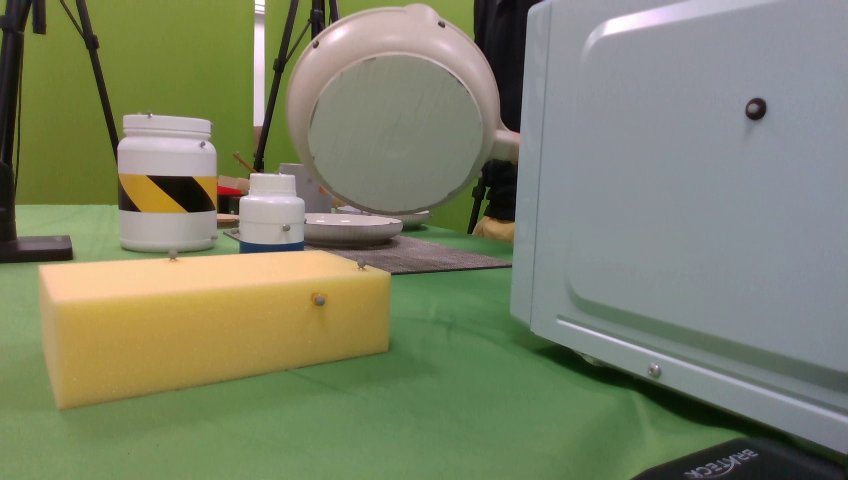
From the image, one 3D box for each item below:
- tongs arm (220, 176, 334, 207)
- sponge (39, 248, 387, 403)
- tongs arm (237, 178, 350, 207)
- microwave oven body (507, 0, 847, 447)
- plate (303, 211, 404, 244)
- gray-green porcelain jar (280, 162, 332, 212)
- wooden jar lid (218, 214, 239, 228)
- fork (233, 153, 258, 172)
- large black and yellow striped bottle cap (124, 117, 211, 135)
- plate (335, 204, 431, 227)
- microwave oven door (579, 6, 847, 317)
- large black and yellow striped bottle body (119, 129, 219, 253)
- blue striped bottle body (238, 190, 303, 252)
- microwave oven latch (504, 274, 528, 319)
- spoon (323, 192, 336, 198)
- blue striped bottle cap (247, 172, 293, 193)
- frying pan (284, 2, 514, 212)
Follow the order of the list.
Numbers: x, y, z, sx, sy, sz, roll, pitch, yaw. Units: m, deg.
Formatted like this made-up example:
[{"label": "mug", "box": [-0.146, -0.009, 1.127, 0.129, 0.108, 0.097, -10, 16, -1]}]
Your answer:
[{"label": "tongs arm", "box": [-0.285, -0.104, 1.445, 0.389, 0.027, 0.028, 9, -4, -23]}, {"label": "sponge", "box": [-0.142, 0.047, 0.420, 0.208, 0.061, 0.117, -3, 8, -36]}, {"label": "tongs arm", "box": [-0.241, -0.095, 1.374, 0.387, 0.026, 0.050, 9, 0, -37]}, {"label": "microwave oven body", "box": [0.331, -0.042, 0.425, 0.444, 0.260, 0.324, -2, 8, -31]}, {"label": "plate", "box": [-0.139, -0.022, 1.021, 0.209, 0.038, 0.209, 2, 8, 0]}, {"label": "gray-green porcelain jar", "box": [-0.238, -0.092, 1.221, 0.106, 0.126, 0.106, 2, 7, 0]}, {"label": "wooden jar lid", "box": [-0.404, -0.037, 1.169, 0.108, 0.020, 0.108, 3, 7, 0]}, {"label": "fork", "box": [-0.396, -0.143, 1.486, 0.028, 0.018, 0.208, 20, -26, 45]}, {"label": "large black and yellow striped bottle cap", "box": [-0.366, -0.163, 0.866, 0.115, 0.019, 0.115, 3, 7, 0]}, {"label": "plate", "box": [-0.089, -0.053, 1.309, 0.208, 0.039, 0.207, 2, 8, 0]}, {"label": "microwave oven door", "box": [0.294, -0.067, 0.570, 0.358, 0.243, 0.039, -3, 9, -31]}, {"label": "large black and yellow striped bottle body", "box": [-0.367, -0.080, 0.876, 0.131, 0.184, 0.130, 2, 7, 0]}, {"label": "blue striped bottle body", "box": [-0.153, -0.007, 0.605, 0.063, 0.120, 0.063, 2, 7, 0]}, {"label": "microwave oven latch", "box": [0.100, 0.042, 0.469, 0.079, 0.029, 0.030, -1, 7, -25]}, {"label": "spoon", "box": [-0.129, -0.115, 1.165, 0.041, 0.021, 0.194, -1, 23, 31]}, {"label": "blue striped bottle cap", "box": [-0.152, -0.057, 0.598, 0.044, 0.020, 0.044, 3, 6, 0]}, {"label": "frying pan", "box": [0.059, -0.148, 0.838, 0.490, 0.306, 0.102, 3, 38, -19]}]
